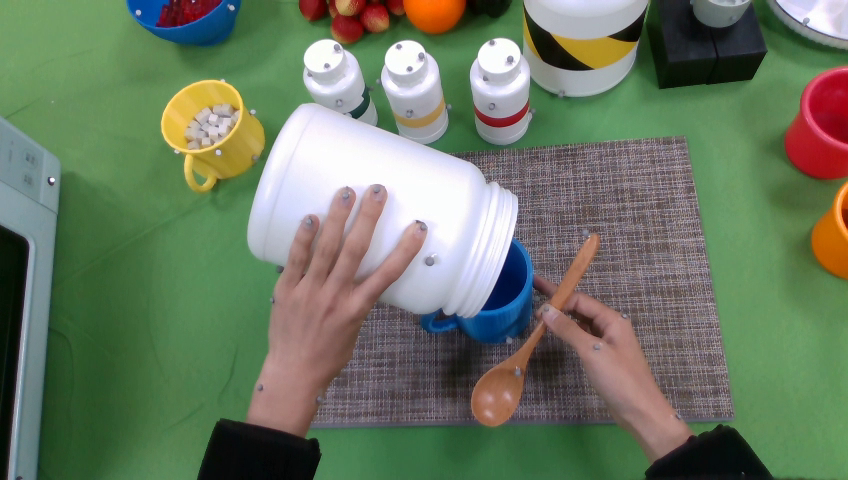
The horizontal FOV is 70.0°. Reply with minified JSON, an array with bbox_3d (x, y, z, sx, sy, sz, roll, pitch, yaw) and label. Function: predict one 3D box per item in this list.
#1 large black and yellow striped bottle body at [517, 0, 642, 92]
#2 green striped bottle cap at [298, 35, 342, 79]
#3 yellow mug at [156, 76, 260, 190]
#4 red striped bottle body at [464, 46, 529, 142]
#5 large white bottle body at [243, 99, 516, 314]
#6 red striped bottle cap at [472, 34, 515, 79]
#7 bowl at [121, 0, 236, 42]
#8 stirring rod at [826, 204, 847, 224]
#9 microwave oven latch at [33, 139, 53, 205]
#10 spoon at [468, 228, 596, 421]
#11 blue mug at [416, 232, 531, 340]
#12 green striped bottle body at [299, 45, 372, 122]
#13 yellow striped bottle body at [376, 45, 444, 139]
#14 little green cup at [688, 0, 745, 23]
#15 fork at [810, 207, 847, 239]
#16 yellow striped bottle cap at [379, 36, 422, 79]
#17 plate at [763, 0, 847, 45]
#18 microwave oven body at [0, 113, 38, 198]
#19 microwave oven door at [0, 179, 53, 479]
[{"bbox_3d":[0.165,-0.262,0.646,0.130,0.185,0.130,-3,68,8],"label":"large black and yellow striped bottle body"},{"bbox_3d":[-0.110,-0.193,0.639,0.044,0.020,0.044,-2,68,6],"label":"green striped bottle cap"},{"bbox_3d":[-0.259,-0.121,0.719,0.100,0.064,0.130,6,71,11],"label":"yellow mug"},{"bbox_3d":[0.079,-0.164,0.657,0.063,0.121,0.062,-5,65,12],"label":"red striped bottle body"},{"bbox_3d":[-0.032,-0.021,0.482,0.185,0.131,0.130,20,72,-6],"label":"large white bottle body"},{"bbox_3d":[0.070,-0.185,0.608,0.044,0.018,0.044,-1,67,4],"label":"red striped bottle cap"},{"bbox_3d":[-0.306,-0.316,0.795,0.151,0.077,0.150,-3,69,7],"label":"bowl"},{"bbox_3d":[0.405,0.003,0.533,0.014,0.006,0.175,-1,26,6],"label":"stirring rod"},{"bbox_3d":[-0.468,-0.080,0.729,0.030,0.030,0.078,-10,68,4],"label":"microwave oven latch"},{"bbox_3d":[0.097,0.075,0.527,0.041,0.021,0.194,31,103,7],"label":"spoon"},{"bbox_3d":[0.045,0.051,0.580,0.116,0.107,0.081,-30,67,-4],"label":"blue mug"},{"bbox_3d":[-0.101,-0.174,0.687,0.063,0.120,0.062,-3,68,7],"label":"green striped bottle body"},{"bbox_3d":[-0.015,-0.169,0.672,0.063,0.121,0.062,-3,68,8],"label":"yellow striped bottle body"},{"bbox_3d":[0.315,-0.266,0.649,0.061,0.039,0.061,-2,66,5],"label":"little green cup"},{"bbox_3d":[0.434,0.003,0.521,0.028,0.019,0.205,-40,24,-7],"label":"fork"},{"bbox_3d":[-0.024,-0.188,0.623,0.044,0.019,0.044,-1,65,3],"label":"yellow striped bottle cap"},{"bbox_3d":[0.485,-0.305,0.694,0.209,0.038,0.207,-3,69,7],"label":"plate"},{"bbox_3d":[-0.597,0.076,0.583,0.326,0.262,0.438,-12,68,3],"label":"microwave oven body"},{"bbox_3d":[-0.449,0.083,0.553,0.039,0.246,0.353,-12,67,4],"label":"microwave oven door"}]
